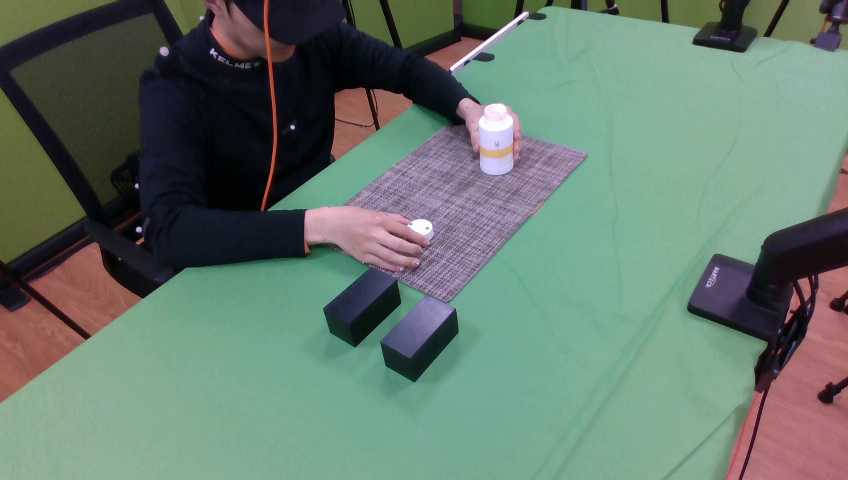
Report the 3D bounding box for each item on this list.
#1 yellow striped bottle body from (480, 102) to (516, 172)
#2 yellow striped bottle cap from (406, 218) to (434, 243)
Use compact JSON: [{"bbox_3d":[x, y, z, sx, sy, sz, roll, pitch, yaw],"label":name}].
[{"bbox_3d":[0.131,-0.185,1.079,0.063,0.121,0.062,-2,45,2],"label":"yellow striped bottle body"},{"bbox_3d":[-0.007,-0.016,0.987,0.044,0.019,0.044,-5,44,5],"label":"yellow striped bottle cap"}]
